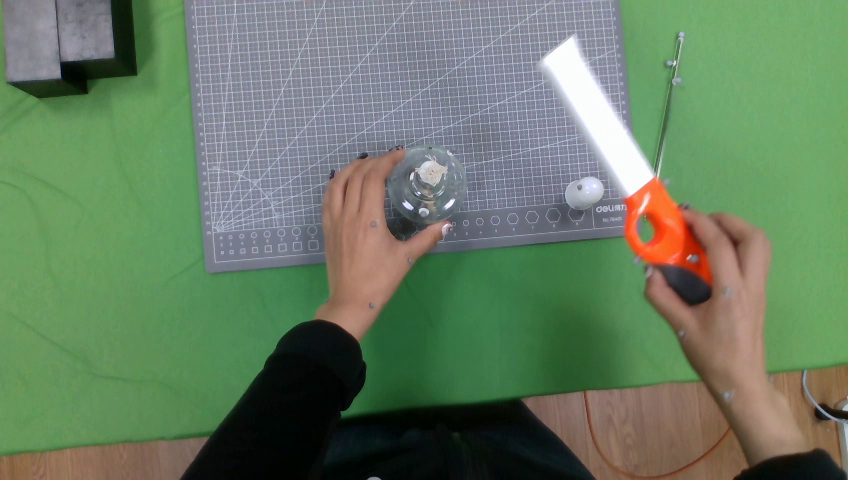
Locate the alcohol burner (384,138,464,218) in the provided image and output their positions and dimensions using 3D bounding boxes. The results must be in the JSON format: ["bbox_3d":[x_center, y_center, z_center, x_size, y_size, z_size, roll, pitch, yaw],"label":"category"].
[{"bbox_3d":[0.002,-0.061,0.570,0.078,0.119,0.077,0,86,-4],"label":"alcohol burner"}]

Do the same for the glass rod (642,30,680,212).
[{"bbox_3d":[0.251,-0.126,0.643,0.008,0.008,0.199,11,88,-3],"label":"glass rod"}]

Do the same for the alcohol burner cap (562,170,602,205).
[{"bbox_3d":[0.162,-0.054,0.615,0.034,0.048,0.034,0,86,-3],"label":"alcohol burner cap"}]

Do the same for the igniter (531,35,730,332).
[{"bbox_3d":[0.174,-0.038,0.491,0.057,0.025,0.278,-38,103,-5],"label":"igniter"}]
